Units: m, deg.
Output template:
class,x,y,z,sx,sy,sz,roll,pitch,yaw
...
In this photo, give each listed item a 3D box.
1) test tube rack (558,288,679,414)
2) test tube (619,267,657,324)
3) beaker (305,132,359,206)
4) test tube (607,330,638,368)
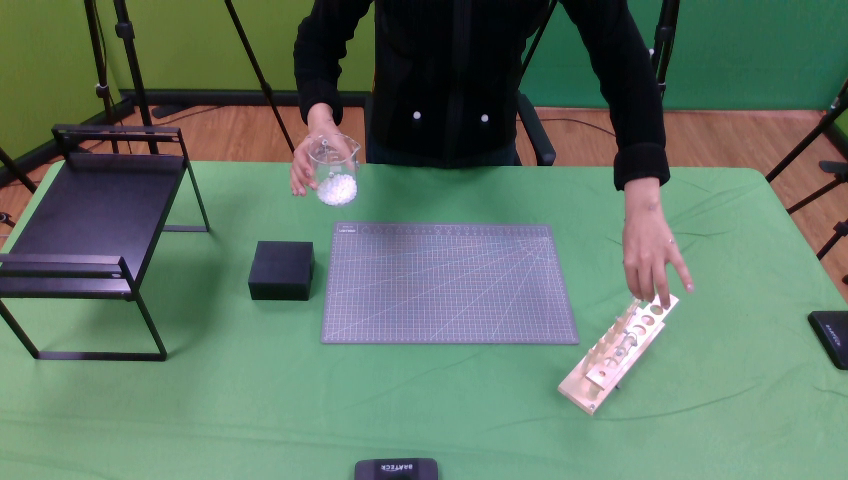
class,x,y,z,sx,sy,sz,roll,pitch,yaw
test tube rack,0.326,0.171,1.009,0.066,0.085,0.242,35,54,27
test tube,0.344,0.091,0.979,0.017,0.151,0.017,2,51,-2
beaker,-0.141,-0.110,0.964,0.084,0.101,0.073,-14,51,-14
test tube,0.293,0.184,0.924,0.017,0.151,0.017,4,49,-4
